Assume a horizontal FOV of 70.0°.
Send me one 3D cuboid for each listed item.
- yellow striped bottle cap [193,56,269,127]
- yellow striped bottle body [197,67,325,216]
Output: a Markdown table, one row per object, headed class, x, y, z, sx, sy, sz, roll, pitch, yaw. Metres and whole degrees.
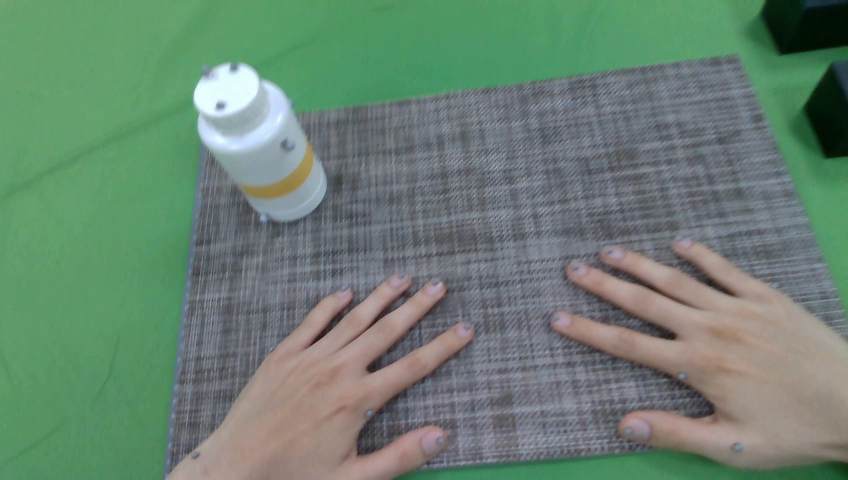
| class | x | y | z | sx | sy | sz | roll | pitch | yaw |
| --- | --- | --- | --- | --- | --- | --- | --- | --- | --- |
| yellow striped bottle cap | -0.123 | -0.095 | 0.386 | 0.044 | 0.019 | 0.044 | -4 | 63 | 8 |
| yellow striped bottle body | -0.117 | -0.072 | 0.432 | 0.063 | 0.121 | 0.062 | -3 | 64 | 7 |
